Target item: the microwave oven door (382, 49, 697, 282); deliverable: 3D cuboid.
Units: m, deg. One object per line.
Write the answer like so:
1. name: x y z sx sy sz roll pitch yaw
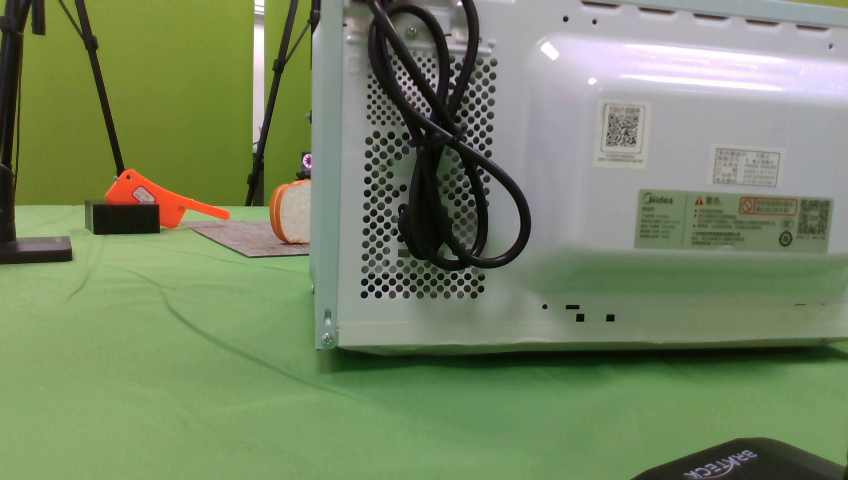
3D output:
1. microwave oven door: 0.135 -0.077 0.685 0.357 0.243 0.039 1 8 -12

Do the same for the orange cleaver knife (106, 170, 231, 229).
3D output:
1. orange cleaver knife: -0.458 -0.060 1.097 0.212 0.077 0.012 23 -4 -38

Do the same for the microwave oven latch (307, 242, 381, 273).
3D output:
1. microwave oven latch: -0.086 0.019 0.656 0.079 0.029 0.030 2 7 -10

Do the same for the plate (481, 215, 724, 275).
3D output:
1. plate: 0.155 0.002 0.545 0.208 0.039 0.207 -1 6 0

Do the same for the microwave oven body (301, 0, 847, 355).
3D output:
1. microwave oven body: 0.120 -0.053 0.535 0.443 0.260 0.325 2 7 -11

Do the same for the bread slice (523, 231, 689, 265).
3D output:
1. bread slice: 0.174 0.007 0.565 0.134 0.018 0.107 -5 4 28
